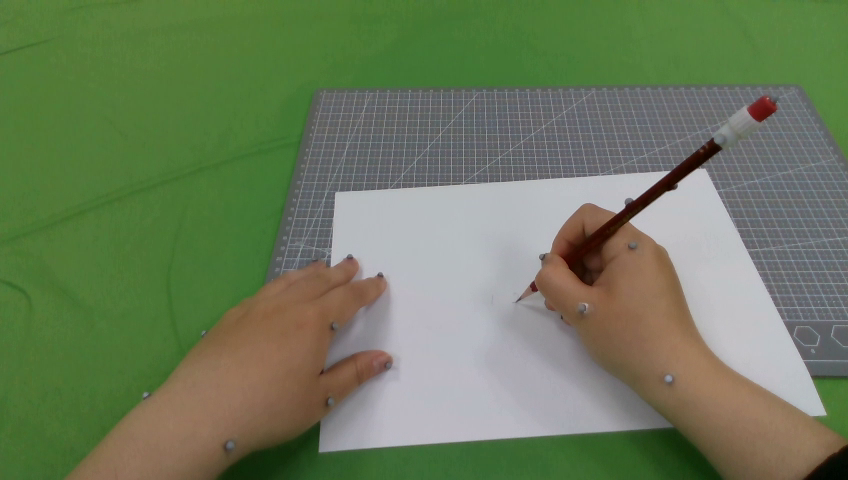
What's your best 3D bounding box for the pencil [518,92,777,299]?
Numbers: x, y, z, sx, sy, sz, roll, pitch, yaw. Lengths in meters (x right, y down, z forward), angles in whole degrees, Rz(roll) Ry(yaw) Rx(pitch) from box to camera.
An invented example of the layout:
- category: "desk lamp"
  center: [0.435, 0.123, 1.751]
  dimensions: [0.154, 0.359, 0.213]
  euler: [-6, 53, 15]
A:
- category: "pencil"
  center: [0.110, -0.012, 0.340]
  dimensions: [0.012, 0.194, 0.012]
  euler: [18, 49, -22]
